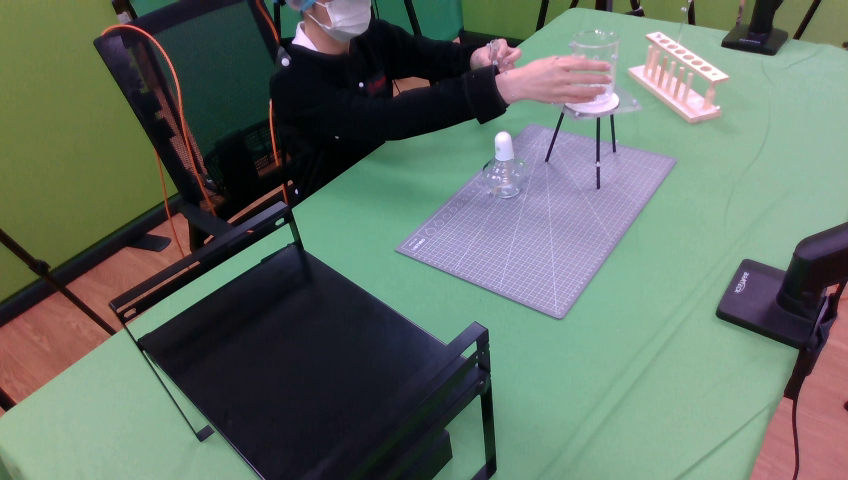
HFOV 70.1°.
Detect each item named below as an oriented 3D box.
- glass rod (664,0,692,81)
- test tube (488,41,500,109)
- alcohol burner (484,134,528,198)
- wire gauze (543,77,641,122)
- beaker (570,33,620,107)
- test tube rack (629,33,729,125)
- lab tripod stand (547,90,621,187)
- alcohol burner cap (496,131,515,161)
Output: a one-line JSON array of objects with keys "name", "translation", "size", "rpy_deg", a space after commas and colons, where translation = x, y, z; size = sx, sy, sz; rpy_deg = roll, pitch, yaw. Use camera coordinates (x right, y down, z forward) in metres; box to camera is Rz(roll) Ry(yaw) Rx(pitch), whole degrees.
[{"name": "glass rod", "translation": [0.524, -0.419, 1.240], "size": [0.008, 0.200, 0.008], "rpy_deg": [1, 42, -1]}, {"name": "test tube", "translation": [0.135, -0.317, 1.173], "size": [0.017, 0.151, 0.017], "rpy_deg": [-1, 51, 2]}, {"name": "alcohol burner", "translation": [0.141, -0.133, 1.041], "size": [0.078, 0.119, 0.077], "rpy_deg": [-5, 43, 5]}, {"name": "wire gauze", "translation": [0.282, -0.236, 1.020], "size": [0.125, 0.011, 0.120], "rpy_deg": [-15, 40, -6]}, {"name": "beaker", "translation": [0.278, -0.278, 0.990], "size": [0.073, 0.100, 0.084], "rpy_deg": [17, 43, 28]}, {"name": "test tube rack", "translation": [0.516, -0.337, 1.247], "size": [0.067, 0.085, 0.240], "rpy_deg": [-14, 41, -7]}, {"name": "lab tripod stand", "translation": [0.289, -0.184, 1.062], "size": [0.148, 0.132, 0.147], "rpy_deg": [-6, 41, 6]}, {"name": "alcohol burner cap", "translation": [0.135, -0.160, 1.019], "size": [0.034, 0.048, 0.033], "rpy_deg": [-6, 38, 5]}]
